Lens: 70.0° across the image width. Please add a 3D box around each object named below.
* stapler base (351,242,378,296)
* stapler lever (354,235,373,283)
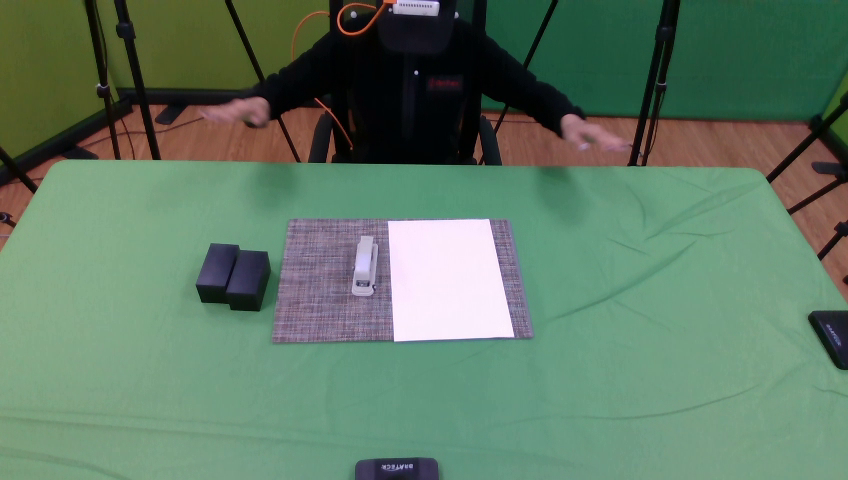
[{"bbox_3d":[-0.112,0.047,1.139,0.041,0.024,0.130,5,45,-4],"label":"stapler base"},{"bbox_3d":[-0.110,0.029,1.122,0.027,0.040,0.117,5,46,-3],"label":"stapler lever"}]
